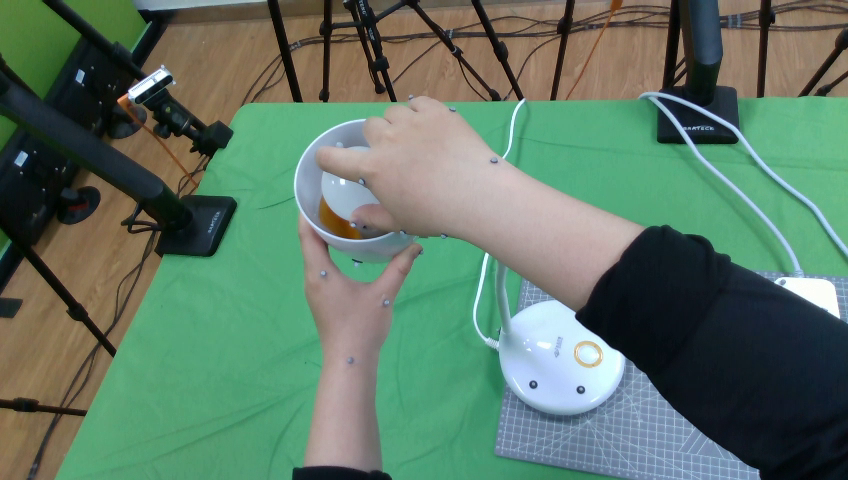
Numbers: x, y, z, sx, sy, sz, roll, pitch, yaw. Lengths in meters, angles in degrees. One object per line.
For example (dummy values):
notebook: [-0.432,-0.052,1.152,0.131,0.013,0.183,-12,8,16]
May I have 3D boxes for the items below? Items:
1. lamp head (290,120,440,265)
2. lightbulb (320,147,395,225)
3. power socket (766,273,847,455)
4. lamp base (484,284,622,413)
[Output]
lamp head: [-0.044,-0.027,0.531,0.112,0.124,0.111,-4,66,8]
lightbulb: [-0.052,-0.037,0.504,0.059,0.108,0.059,-1,72,2]
power socket: [0.460,0.139,0.726,0.072,0.033,0.225,3,58,16]
lamp base: [0.147,0.108,0.738,0.178,0.182,0.159,-2,56,17]
